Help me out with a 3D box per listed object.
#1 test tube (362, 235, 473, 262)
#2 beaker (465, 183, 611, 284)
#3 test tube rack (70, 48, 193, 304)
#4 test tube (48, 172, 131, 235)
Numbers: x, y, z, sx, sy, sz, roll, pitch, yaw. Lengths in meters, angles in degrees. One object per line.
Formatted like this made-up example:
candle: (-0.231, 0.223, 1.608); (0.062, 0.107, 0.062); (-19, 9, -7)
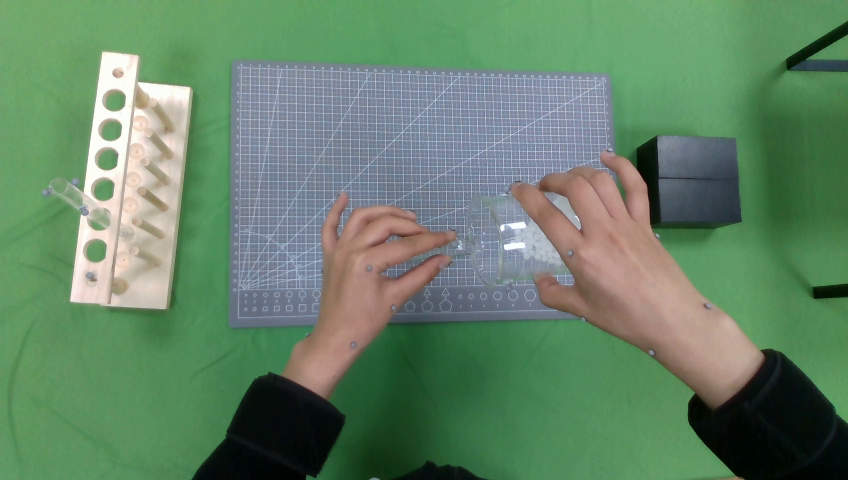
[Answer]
test tube: (-0.011, 0.009, 0.570); (0.017, 0.149, 0.017); (5, 82, -42)
beaker: (0.091, -0.007, 0.492); (0.100, 0.084, 0.074); (-7, 85, -15)
test tube rack: (-0.291, -0.059, 0.614); (0.067, 0.085, 0.241); (4, 83, -7)
test tube: (-0.303, -0.029, 0.559); (0.017, 0.150, 0.017); (2, 76, -6)
